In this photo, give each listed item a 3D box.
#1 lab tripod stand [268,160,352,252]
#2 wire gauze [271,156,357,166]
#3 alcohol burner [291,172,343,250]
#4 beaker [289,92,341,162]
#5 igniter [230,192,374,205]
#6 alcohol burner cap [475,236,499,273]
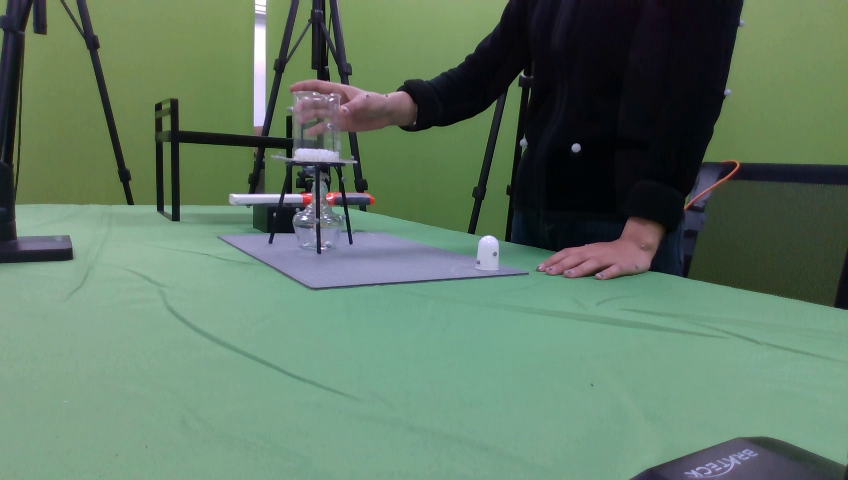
[{"bbox_3d":[-0.171,-0.055,0.921,0.148,0.131,0.148,1,8,0],"label":"lab tripod stand"},{"bbox_3d":[-0.166,-0.120,0.917,0.125,0.011,0.121,-2,6,-9],"label":"wire gauze"},{"bbox_3d":[-0.162,-0.045,0.922,0.078,0.119,0.078,5,7,0],"label":"alcohol burner"},{"bbox_3d":[-0.160,-0.166,0.903,0.074,0.100,0.083,-3,8,-30],"label":"beaker"},{"bbox_3d":[-0.228,-0.079,1.164,0.278,0.025,0.057,-2,14,-30],"label":"igniter"},{"bbox_3d":[0.084,0.019,0.799,0.034,0.048,0.034,2,6,0],"label":"alcohol burner cap"}]
